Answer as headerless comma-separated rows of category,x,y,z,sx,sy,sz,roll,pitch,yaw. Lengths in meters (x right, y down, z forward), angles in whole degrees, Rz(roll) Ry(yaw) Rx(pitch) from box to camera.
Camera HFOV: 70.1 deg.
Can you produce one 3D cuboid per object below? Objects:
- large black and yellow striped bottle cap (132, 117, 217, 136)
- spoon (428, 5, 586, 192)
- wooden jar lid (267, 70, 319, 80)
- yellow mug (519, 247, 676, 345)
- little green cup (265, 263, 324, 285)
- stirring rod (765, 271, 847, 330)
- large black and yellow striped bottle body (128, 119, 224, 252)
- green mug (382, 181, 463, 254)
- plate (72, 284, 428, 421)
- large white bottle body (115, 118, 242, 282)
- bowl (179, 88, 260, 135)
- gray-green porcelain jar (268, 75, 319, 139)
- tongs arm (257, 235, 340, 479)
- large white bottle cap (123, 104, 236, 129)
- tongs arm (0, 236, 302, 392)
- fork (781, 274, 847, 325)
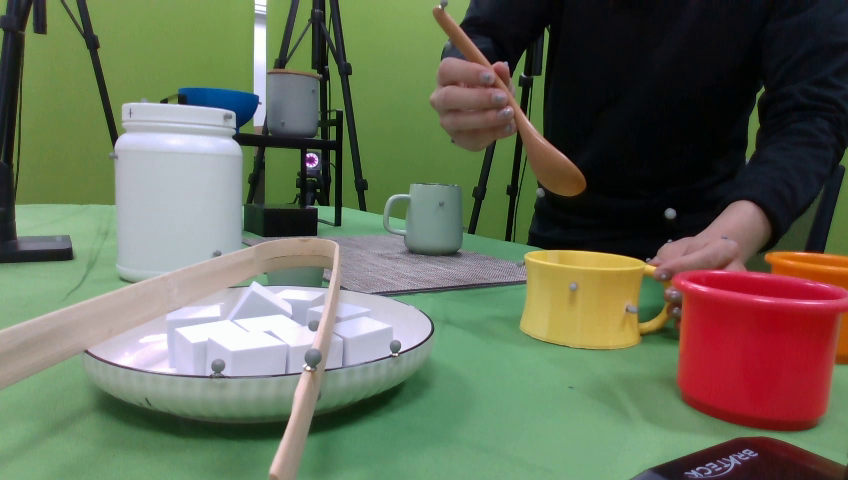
large black and yellow striped bottle cap,-0.359,-0.164,0.875,0.115,0.019,0.115,2,6,0
spoon,0.067,-0.115,0.499,0.022,0.193,0.041,-38,2,-31
wooden jar lid,-0.275,-0.339,1.271,0.108,0.020,0.108,5,6,0
yellow mug,0.148,0.045,0.513,0.131,0.064,0.100,3,7,0
little green cup,-0.134,0.033,0.628,0.061,0.038,0.061,3,8,0
stirring rod,0.352,0.020,0.481,0.176,0.006,0.014,-40,-7,17
large black and yellow striped bottle body,-0.361,-0.081,0.887,0.131,0.184,0.130,2,8,0
green mug,-0.001,-0.036,0.922,0.126,0.105,0.092,0,8,-16
plate,-0.102,0.067,0.381,0.208,0.039,0.207,3,7,0
large white bottle body,-0.270,-0.051,0.673,0.131,0.184,0.130,2,8,0
bowl,-0.400,-0.248,1.188,0.151,0.077,0.151,3,6,0
gray-green porcelain jar,-0.277,-0.278,1.280,0.106,0.126,0.106,2,8,0
tongs arm,-0.074,0.040,0.345,0.051,0.026,0.384,-1,10,-3
large white bottle cap,-0.266,-0.135,0.663,0.115,0.018,0.115,3,7,0
tongs arm,-0.157,0.038,0.347,0.028,0.028,0.388,-2,8,11
fork,0.332,0.018,0.443,0.028,0.018,0.207,-2,-35,-16
